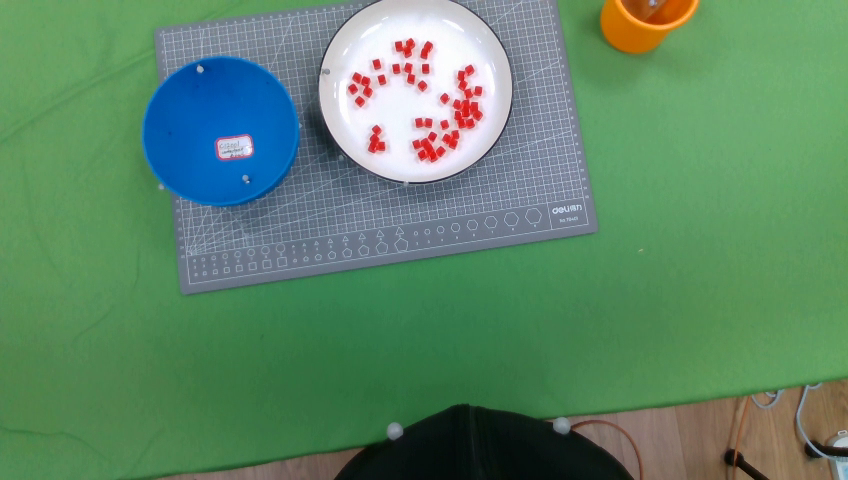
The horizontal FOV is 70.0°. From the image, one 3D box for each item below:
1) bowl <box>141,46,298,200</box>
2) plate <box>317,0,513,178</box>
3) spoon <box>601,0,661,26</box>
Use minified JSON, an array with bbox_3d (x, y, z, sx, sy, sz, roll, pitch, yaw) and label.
[{"bbox_3d":[-0.198,-0.109,0.621,0.151,0.077,0.151,0,84,-1],"label":"bowl"},{"bbox_3d":[-0.009,-0.166,0.651,0.209,0.038,0.208,0,83,0],"label":"plate"},{"bbox_3d":[0.273,-0.265,0.616,0.022,0.193,0.041,3,82,-45],"label":"spoon"}]
